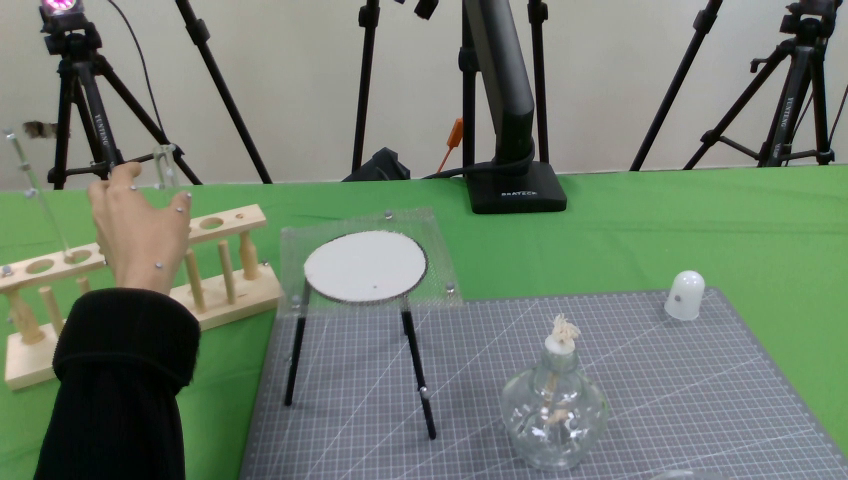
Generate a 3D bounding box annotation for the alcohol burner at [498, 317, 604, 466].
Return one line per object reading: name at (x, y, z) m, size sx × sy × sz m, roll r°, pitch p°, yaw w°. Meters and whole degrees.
alcohol burner at (0.093, 0.105, 0.437) m, size 0.078 × 0.120 × 0.077 m, roll -1°, pitch 32°, yaw 1°

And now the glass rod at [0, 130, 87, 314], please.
glass rod at (-0.314, -0.002, 0.514) m, size 0.008 × 0.201 × 0.008 m, roll 0°, pitch 38°, yaw 0°

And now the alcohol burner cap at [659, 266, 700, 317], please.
alcohol burner cap at (0.248, 0.047, 0.586) m, size 0.034 × 0.048 × 0.033 m, roll 0°, pitch 34°, yaw 0°

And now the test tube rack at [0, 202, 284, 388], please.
test tube rack at (-0.263, 0.044, 0.565) m, size 0.243 × 0.086 × 0.066 m, roll -17°, pitch 37°, yaw -23°

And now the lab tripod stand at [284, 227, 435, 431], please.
lab tripod stand at (-0.045, 0.068, 0.476) m, size 0.148 × 0.132 × 0.147 m, roll -1°, pitch 36°, yaw 1°

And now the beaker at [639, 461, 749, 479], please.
beaker at (0.112, 0.160, 0.266) m, size 0.084 × 0.101 × 0.073 m, roll -6°, pitch 33°, yaw -9°

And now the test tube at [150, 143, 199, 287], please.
test tube at (-0.233, -0.018, 0.569) m, size 0.017 × 0.151 × 0.017 m, roll 0°, pitch 31°, yaw 0°

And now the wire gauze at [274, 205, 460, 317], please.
wire gauze at (-0.046, 0.013, 0.438) m, size 0.125 × 0.011 × 0.120 m, roll -7°, pitch 34°, yaw -7°
